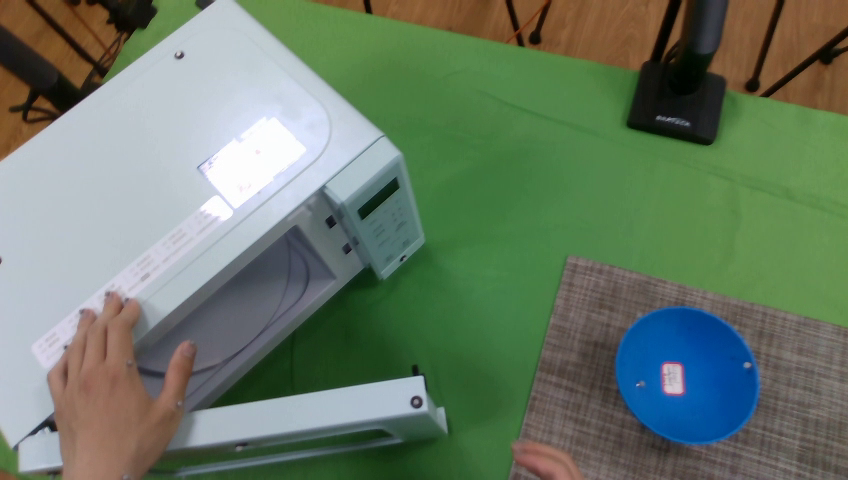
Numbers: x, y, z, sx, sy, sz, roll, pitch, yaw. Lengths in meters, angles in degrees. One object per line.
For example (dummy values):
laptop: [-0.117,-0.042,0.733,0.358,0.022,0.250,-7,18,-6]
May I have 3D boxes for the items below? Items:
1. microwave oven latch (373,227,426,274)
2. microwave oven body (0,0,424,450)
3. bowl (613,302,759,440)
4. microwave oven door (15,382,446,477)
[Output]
microwave oven latch: [-0.033,0.007,0.787,0.079,0.030,0.030,-41,71,-9]
microwave oven body: [-0.272,-0.008,0.712,0.441,0.262,0.324,-43,71,-10]
bowl: [0.286,0.154,0.691,0.151,0.077,0.150,-2,68,5]
microwave oven door: [-0.162,0.196,0.615,0.356,0.245,0.039,-10,68,2]
